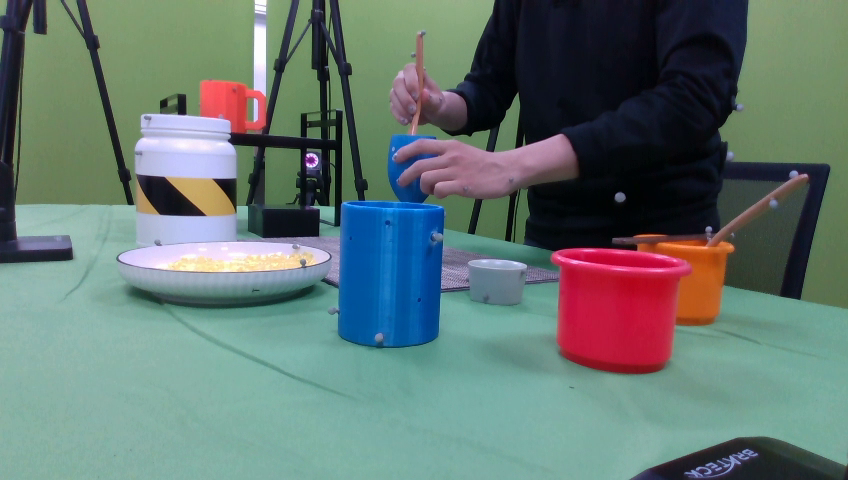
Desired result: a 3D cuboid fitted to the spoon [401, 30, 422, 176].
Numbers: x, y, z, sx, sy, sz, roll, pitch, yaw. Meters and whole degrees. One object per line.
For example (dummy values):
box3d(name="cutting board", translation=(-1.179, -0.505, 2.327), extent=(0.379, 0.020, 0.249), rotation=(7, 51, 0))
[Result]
box3d(name="spoon", translation=(-0.014, -0.184, 0.817), extent=(0.022, 0.193, 0.041), rotation=(6, 3, -17))

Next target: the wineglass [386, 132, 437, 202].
box3d(name="wineglass", translation=(-0.019, -0.061, 0.841), extent=(0.074, 0.172, 0.073), rotation=(2, 8, 0))

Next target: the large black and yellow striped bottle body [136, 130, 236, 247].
box3d(name="large black and yellow striped bottle body", translation=(-0.332, -0.076, 0.851), extent=(0.131, 0.184, 0.130), rotation=(3, 8, 0))

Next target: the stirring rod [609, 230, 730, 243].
box3d(name="stirring rod", translation=(0.241, -0.004, 0.582), extent=(0.177, 0.006, 0.014), rotation=(-4, 9, -33))

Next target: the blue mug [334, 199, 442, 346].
box3d(name="blue mug", translation=(-0.034, 0.020, 0.498), extent=(0.083, 0.106, 0.116), rotation=(0, 7, -20))

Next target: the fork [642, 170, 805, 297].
box3d(name="fork", translation=(0.261, 0.004, 0.545), extent=(0.028, 0.018, 0.207), rotation=(5, -37, -15))

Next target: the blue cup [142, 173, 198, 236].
box3d(name="blue cup", translation=(-0.425, -0.060, 1.014), extent=(0.093, 0.100, 0.092), rotation=(4, 9, 0))

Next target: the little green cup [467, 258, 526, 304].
box3d(name="little green cup", translation=(0.074, 0.042, 0.625), extent=(0.061, 0.038, 0.061), rotation=(3, 8, 0))

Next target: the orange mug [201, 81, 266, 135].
box3d(name="orange mug", translation=(-0.377, -0.260, 1.198), extent=(0.126, 0.101, 0.083), rotation=(-3, 8, -6))

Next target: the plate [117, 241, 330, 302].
box3d(name="plate", translation=(-0.203, 0.031, 0.629), extent=(0.209, 0.038, 0.209), rotation=(3, 7, 0))

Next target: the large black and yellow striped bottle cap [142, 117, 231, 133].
box3d(name="large black and yellow striped bottle cap", translation=(-0.328, -0.159, 0.839), extent=(0.115, 0.019, 0.115), rotation=(1, 9, 0))
